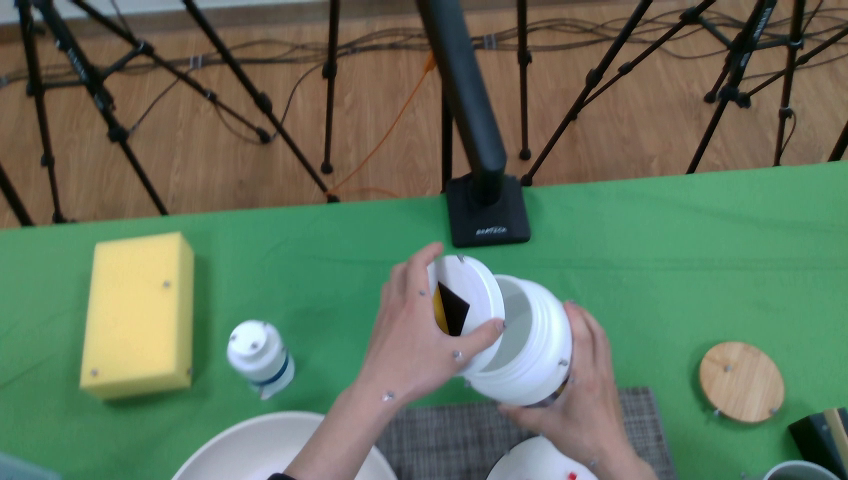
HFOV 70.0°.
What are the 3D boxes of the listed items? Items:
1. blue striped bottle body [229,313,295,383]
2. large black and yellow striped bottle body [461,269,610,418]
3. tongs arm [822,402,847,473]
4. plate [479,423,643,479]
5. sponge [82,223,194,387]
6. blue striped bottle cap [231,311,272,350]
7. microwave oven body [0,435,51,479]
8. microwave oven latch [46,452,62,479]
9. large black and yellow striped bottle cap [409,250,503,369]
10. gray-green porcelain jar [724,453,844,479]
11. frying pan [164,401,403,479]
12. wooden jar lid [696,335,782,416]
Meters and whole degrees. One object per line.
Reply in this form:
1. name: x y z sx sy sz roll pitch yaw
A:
1. blue striped bottle body: -0.204 0.133 0.763 0.063 0.122 0.062 0 60 0
2. large black and yellow striped bottle body: 0.114 0.115 0.673 0.130 0.186 0.129 -18 56 30
3. tongs arm: 0.530 0.365 0.656 0.051 0.026 0.382 -8 71 -6
4. plate: 0.160 0.321 0.705 0.209 0.038 0.207 0 61 0
5. sponge: -0.382 0.085 0.823 0.118 0.061 0.205 -9 62 -6
6. blue striped bottle cap: -0.205 0.107 0.719 0.044 0.021 0.044 0 63 0
7. microwave oven body: -0.579 0.403 0.525 0.326 0.262 0.437 -4 61 -3
8. microwave oven latch: -0.443 0.289 0.701 0.030 0.030 0.078 -3 61 -2
9. large black and yellow striped bottle cap: 0.028 0.066 0.580 0.019 0.115 0.114 4 52 -41
10. gray-green porcelain jar: 0.392 0.302 0.671 0.106 0.127 0.105 0 60 0
11. frying pan: -0.148 0.413 0.614 0.307 0.103 0.482 -6 53 -1
12. wooden jar lid: 0.414 0.179 0.801 0.108 0.021 0.107 0 62 0
